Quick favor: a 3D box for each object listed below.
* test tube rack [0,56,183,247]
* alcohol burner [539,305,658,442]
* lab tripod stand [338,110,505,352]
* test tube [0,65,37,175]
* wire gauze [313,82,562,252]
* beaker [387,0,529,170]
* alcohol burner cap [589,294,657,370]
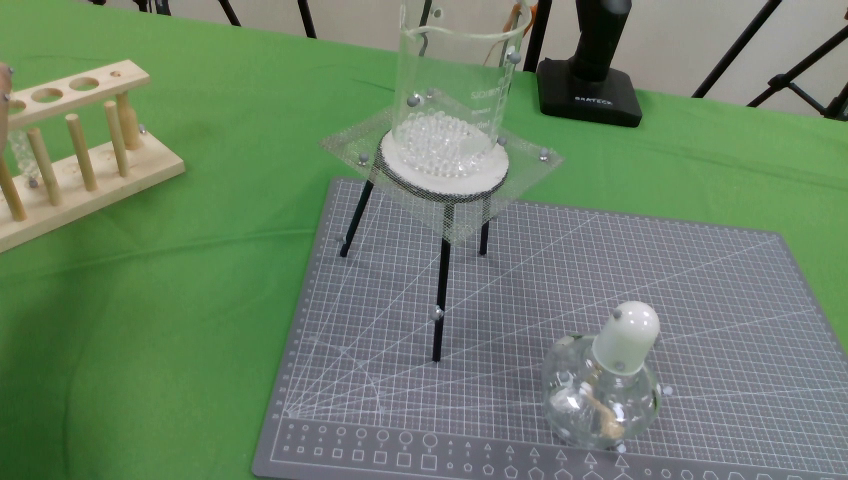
[{"bbox_3d":[-0.320,-0.058,0.471,0.066,0.086,0.242,36,49,24],"label":"test tube rack"},{"bbox_3d":[0.117,0.078,0.389,0.078,0.120,0.077,6,43,-6],"label":"alcohol burner"},{"bbox_3d":[0.005,-0.013,0.447,0.149,0.132,0.147,7,45,-6],"label":"lab tripod stand"},{"bbox_3d":[-0.320,-0.111,0.453,0.017,0.151,0.017,5,42,-4],"label":"test tube"},{"bbox_3d":[0.011,-0.060,0.401,0.124,0.011,0.121,39,53,21],"label":"wire gauze"},{"bbox_3d":[0.014,-0.099,0.371,0.084,0.101,0.073,-28,56,-31],"label":"beaker"},{"bbox_3d":[0.121,0.053,0.362,0.034,0.048,0.033,3,49,-3],"label":"alcohol burner cap"}]
